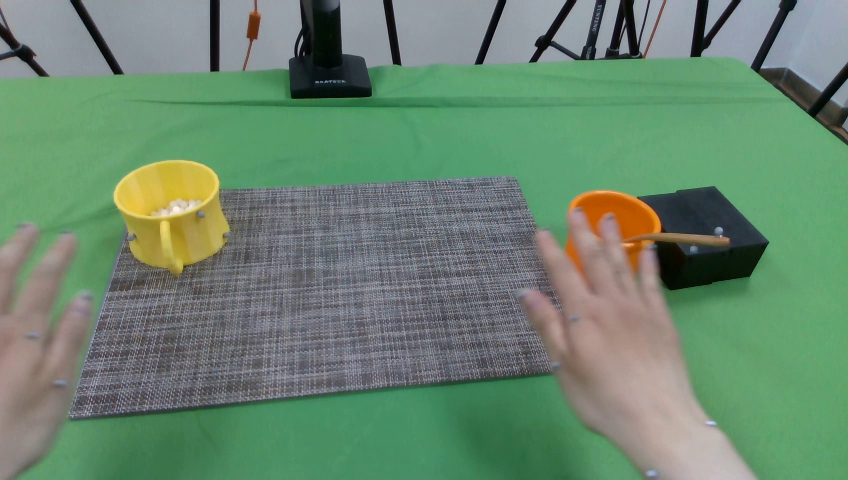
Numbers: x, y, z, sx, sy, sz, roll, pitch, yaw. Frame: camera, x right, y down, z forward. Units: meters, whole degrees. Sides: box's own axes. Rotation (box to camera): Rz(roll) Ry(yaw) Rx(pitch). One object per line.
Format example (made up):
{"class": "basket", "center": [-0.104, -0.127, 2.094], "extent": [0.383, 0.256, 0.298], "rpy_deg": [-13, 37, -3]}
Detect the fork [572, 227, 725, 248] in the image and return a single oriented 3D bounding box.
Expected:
{"class": "fork", "center": [0.204, -0.002, 0.576], "extent": [0.028, 0.018, 0.206], "rpy_deg": [-1, -3, -18]}

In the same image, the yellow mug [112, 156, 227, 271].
{"class": "yellow mug", "center": [-0.256, -0.023, 0.617], "extent": [0.100, 0.064, 0.129], "rpy_deg": [-8, 44, -14]}
